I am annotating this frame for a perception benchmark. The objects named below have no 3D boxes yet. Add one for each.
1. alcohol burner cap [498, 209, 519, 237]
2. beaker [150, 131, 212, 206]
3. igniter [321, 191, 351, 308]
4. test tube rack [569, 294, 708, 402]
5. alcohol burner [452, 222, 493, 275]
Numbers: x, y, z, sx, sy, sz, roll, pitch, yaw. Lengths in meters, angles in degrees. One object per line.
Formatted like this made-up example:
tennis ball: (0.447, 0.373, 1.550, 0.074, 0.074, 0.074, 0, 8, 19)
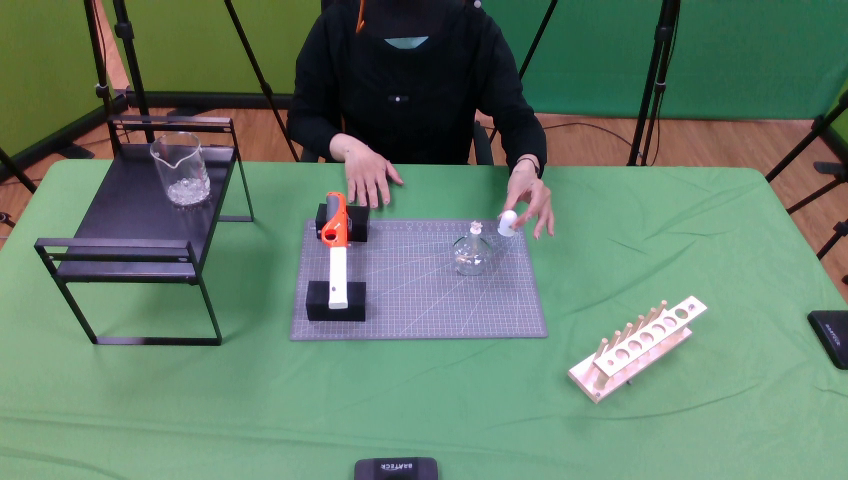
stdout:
alcohol burner cap: (0.153, -0.034, 1.085, 0.034, 0.048, 0.033, 4, 40, -3)
beaker: (-0.385, -0.110, 0.969, 0.074, 0.101, 0.083, -6, 48, -9)
igniter: (-0.159, 0.008, 1.101, 0.057, 0.025, 0.274, -2, 48, -7)
test tube rack: (0.360, 0.167, 1.014, 0.242, 0.085, 0.066, -25, 53, -25)
alcohol burner: (0.091, 0.009, 1.124, 0.078, 0.119, 0.077, 2, 49, -2)
